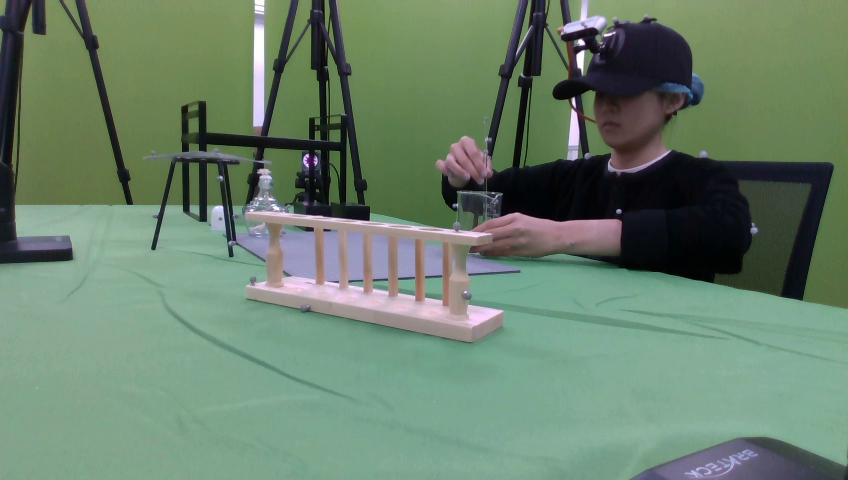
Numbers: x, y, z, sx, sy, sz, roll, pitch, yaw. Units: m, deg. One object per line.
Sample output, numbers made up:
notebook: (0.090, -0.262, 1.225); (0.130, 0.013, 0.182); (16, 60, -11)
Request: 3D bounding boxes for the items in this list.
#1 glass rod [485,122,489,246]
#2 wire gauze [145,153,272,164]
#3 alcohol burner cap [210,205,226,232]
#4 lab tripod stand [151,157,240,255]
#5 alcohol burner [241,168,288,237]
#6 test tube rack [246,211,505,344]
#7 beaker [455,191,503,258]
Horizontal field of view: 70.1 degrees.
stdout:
glass rod: (0.102, -0.088, 0.972); (0.008, 0.199, 0.008); (-1, 10, 1)
wire gauze: (-0.303, -0.117, 0.854); (0.121, 0.011, 0.126); (7, 8, 34)
alcohol burner cap: (-0.376, -0.040, 1.107); (0.034, 0.048, 0.034); (2, 7, 0)
lab tripod stand: (-0.310, -0.052, 0.866); (0.148, 0.131, 0.148); (2, 6, 0)
alcohol burner: (-0.272, -0.064, 1.036); (0.078, 0.119, 0.078); (4, 5, 0)
test tube rack: (-0.049, 0.025, 0.547); (0.241, 0.085, 0.067); (7, 8, 29)
beaker: (0.087, -0.025, 0.955); (0.074, 0.100, 0.083); (-1, 9, -26)
